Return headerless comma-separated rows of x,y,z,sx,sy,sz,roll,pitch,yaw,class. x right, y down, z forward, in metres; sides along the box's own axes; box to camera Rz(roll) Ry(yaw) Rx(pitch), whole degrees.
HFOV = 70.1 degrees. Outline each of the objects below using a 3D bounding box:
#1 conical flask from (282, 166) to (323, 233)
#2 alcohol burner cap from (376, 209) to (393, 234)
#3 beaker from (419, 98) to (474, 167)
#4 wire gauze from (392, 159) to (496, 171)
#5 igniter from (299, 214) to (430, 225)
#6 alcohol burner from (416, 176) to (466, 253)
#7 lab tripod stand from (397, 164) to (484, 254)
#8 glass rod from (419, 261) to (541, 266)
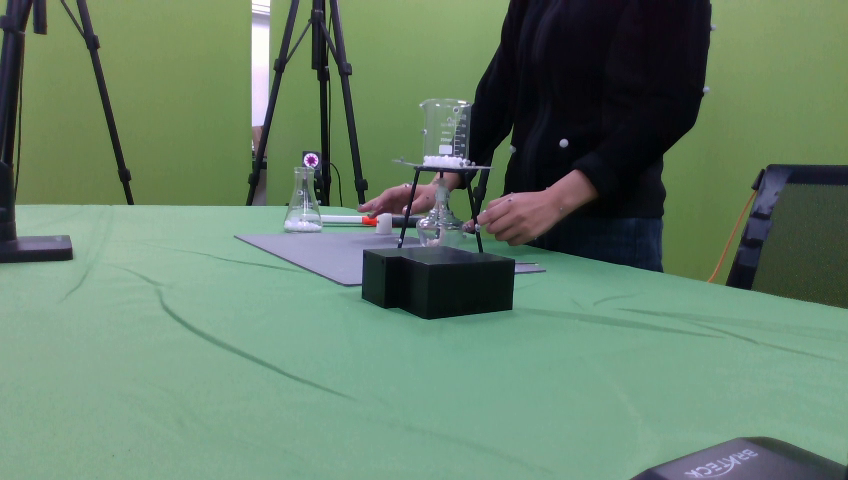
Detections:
-0.225,-0.076,1.129,0.075,0.122,0.075,2,8,0,conical flask
-0.075,-0.036,1.150,0.034,0.048,0.034,2,7,0,alcohol burner cap
0.032,-0.161,0.913,0.084,0.100,0.074,1,7,-10,beaker
0.032,-0.114,0.923,0.124,0.011,0.122,5,5,32,wire gauze
-0.123,-0.044,1.281,0.278,0.025,0.057,0,-2,-19,igniter
0.027,-0.039,0.935,0.078,0.119,0.078,3,9,0,alcohol burner
0.029,-0.049,0.930,0.148,0.131,0.148,4,7,0,lab tripod stand
0.080,0.032,0.808,0.201,0.008,0.008,1,6,-32,glass rod
